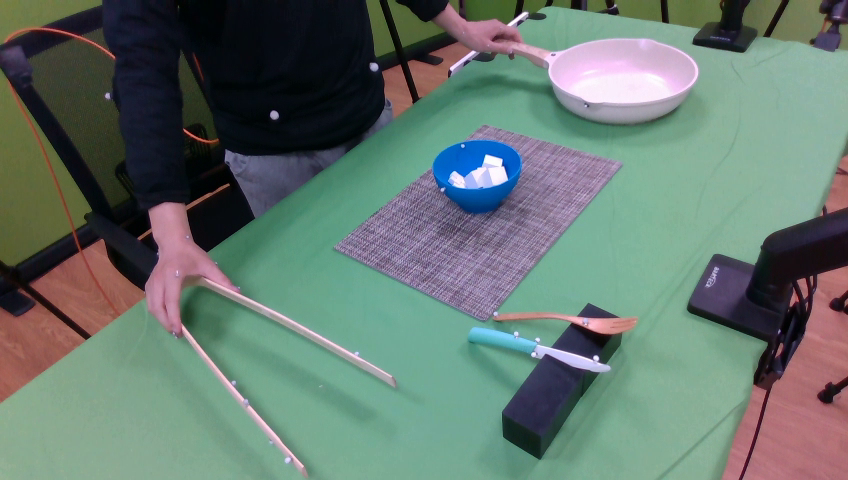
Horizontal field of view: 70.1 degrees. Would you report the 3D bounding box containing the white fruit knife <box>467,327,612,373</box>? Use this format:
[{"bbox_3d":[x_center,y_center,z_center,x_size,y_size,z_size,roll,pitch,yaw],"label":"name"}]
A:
[{"bbox_3d":[0.134,0.134,0.742,0.205,0.027,0.016,7,34,41],"label":"white fruit knife"}]

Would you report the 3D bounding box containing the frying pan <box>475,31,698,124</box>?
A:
[{"bbox_3d":[0.320,-0.371,1.290,0.485,0.103,0.307,28,50,23],"label":"frying pan"}]

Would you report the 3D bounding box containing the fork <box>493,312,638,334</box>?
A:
[{"bbox_3d":[0.173,0.103,0.774,0.206,0.019,0.028,0,41,40],"label":"fork"}]

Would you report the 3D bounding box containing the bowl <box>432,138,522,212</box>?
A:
[{"bbox_3d":[0.091,-0.100,1.021,0.151,0.077,0.150,-4,41,4],"label":"bowl"}]

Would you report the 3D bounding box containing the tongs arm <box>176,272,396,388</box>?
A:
[{"bbox_3d":[-0.196,0.113,0.813,0.385,0.028,0.028,20,56,28],"label":"tongs arm"}]

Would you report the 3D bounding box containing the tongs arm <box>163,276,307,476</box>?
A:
[{"bbox_3d":[-0.247,0.157,0.775,0.051,0.026,0.381,-39,51,-25],"label":"tongs arm"}]
